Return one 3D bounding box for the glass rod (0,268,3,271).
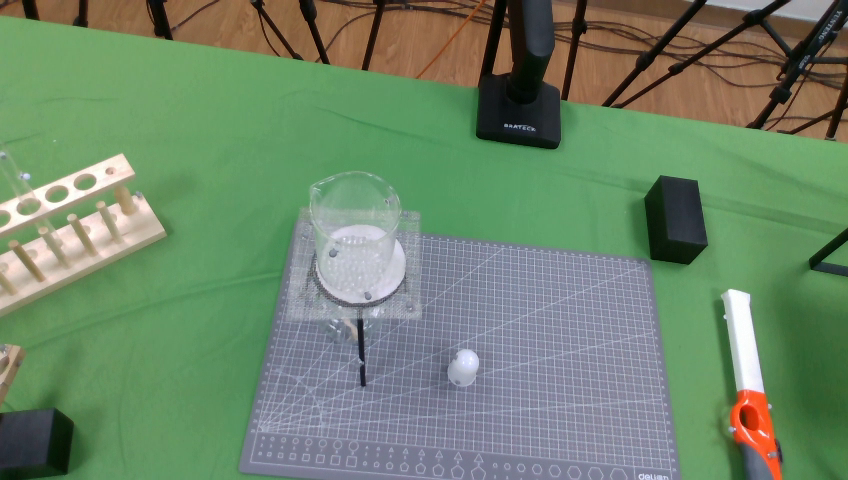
[{"bbox_3d":[-0.461,-0.021,0.579,0.008,0.201,0.008,1,55,0],"label":"glass rod"}]

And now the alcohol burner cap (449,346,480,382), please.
[{"bbox_3d":[0.045,0.132,0.651,0.034,0.048,0.033,1,62,-2],"label":"alcohol burner cap"}]

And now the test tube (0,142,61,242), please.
[{"bbox_3d":[-0.405,-0.043,0.620,0.017,0.151,0.017,4,54,-5],"label":"test tube"}]

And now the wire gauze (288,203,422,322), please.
[{"bbox_3d":[-0.064,0.019,0.575,0.121,0.011,0.124,1,63,-5],"label":"wire gauze"}]

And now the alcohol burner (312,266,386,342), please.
[{"bbox_3d":[-0.078,0.060,0.637,0.078,0.120,0.077,4,58,-7],"label":"alcohol burner"}]

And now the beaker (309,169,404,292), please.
[{"bbox_3d":[-0.063,-0.005,0.532,0.083,0.101,0.073,29,60,10],"label":"beaker"}]

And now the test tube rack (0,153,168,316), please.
[{"bbox_3d":[-0.414,0.005,0.648,0.242,0.086,0.066,-30,67,-23],"label":"test tube rack"}]

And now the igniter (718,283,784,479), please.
[{"bbox_3d":[0.364,0.174,0.677,0.057,0.025,0.274,14,58,-10],"label":"igniter"}]

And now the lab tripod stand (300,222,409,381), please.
[{"bbox_3d":[-0.067,0.057,0.629,0.149,0.132,0.147,4,59,-6],"label":"lab tripod stand"}]

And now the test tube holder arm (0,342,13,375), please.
[{"bbox_3d":[-0.399,0.174,0.530,0.013,0.015,0.177,9,57,-2],"label":"test tube holder arm"}]

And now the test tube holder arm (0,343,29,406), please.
[{"bbox_3d":[-0.389,0.138,0.554,0.010,0.015,0.087,9,57,-1],"label":"test tube holder arm"}]
